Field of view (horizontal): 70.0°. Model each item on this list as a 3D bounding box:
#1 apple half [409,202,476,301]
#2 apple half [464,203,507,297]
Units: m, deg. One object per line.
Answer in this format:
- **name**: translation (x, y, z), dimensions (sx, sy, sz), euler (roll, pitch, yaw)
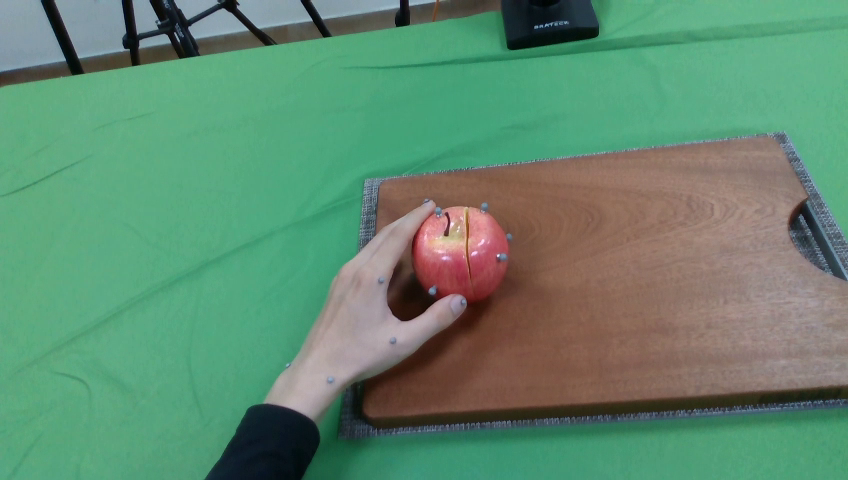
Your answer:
- **apple half**: translation (0.015, 0.013, 0.516), dimensions (0.053, 0.075, 0.080), euler (-8, 54, 10)
- **apple half**: translation (0.054, 0.009, 0.510), dimensions (0.033, 0.082, 0.080), euler (-7, 50, 9)
